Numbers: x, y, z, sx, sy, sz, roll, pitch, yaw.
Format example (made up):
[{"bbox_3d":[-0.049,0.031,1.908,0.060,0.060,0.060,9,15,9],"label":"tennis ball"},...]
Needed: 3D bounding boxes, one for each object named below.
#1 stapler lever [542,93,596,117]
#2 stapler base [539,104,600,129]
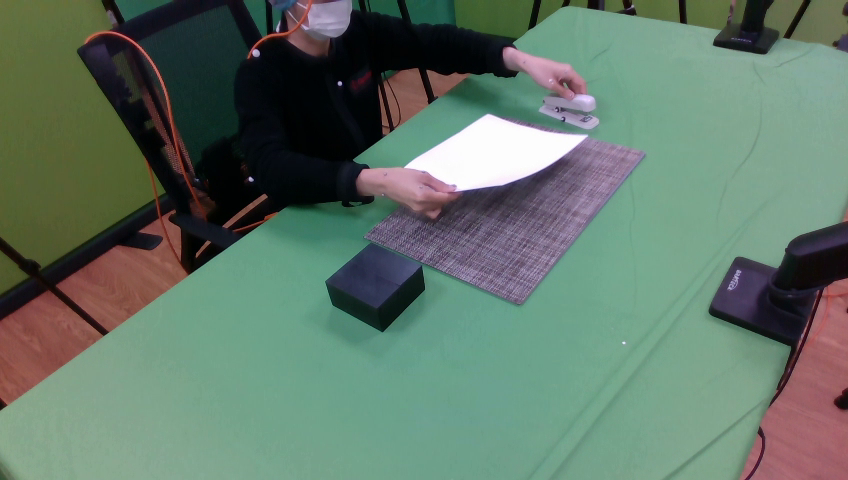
[{"bbox_3d":[0.292,-0.279,1.218,0.027,0.040,0.117,-34,46,-29],"label":"stapler lever"},{"bbox_3d":[0.297,-0.261,1.233,0.041,0.024,0.129,-34,45,-29],"label":"stapler base"}]
